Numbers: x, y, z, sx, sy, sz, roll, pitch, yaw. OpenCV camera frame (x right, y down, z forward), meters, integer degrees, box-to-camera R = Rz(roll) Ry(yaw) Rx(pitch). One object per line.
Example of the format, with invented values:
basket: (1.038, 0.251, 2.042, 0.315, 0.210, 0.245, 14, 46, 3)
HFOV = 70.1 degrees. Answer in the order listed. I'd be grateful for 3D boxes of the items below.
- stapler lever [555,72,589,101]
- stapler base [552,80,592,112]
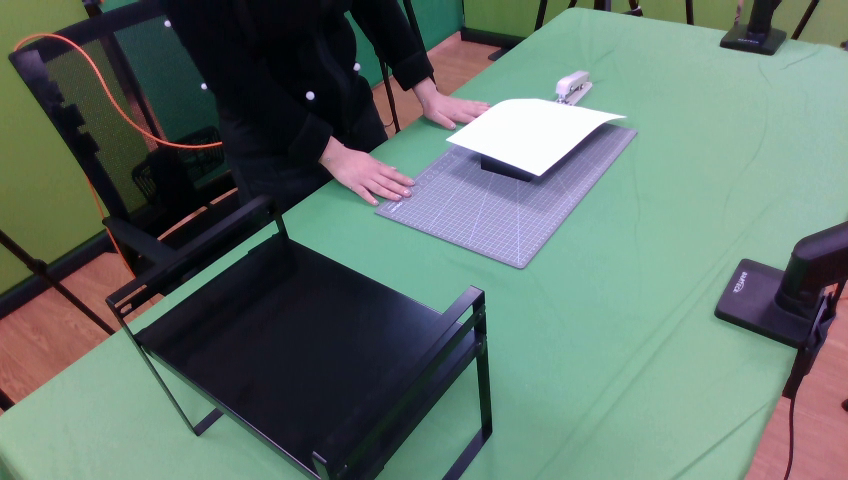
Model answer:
stapler lever: (0.315, -0.336, 1.284, 0.026, 0.040, 0.118, 20, 47, 30)
stapler base: (0.318, -0.316, 1.298, 0.041, 0.024, 0.131, 20, 46, 30)
